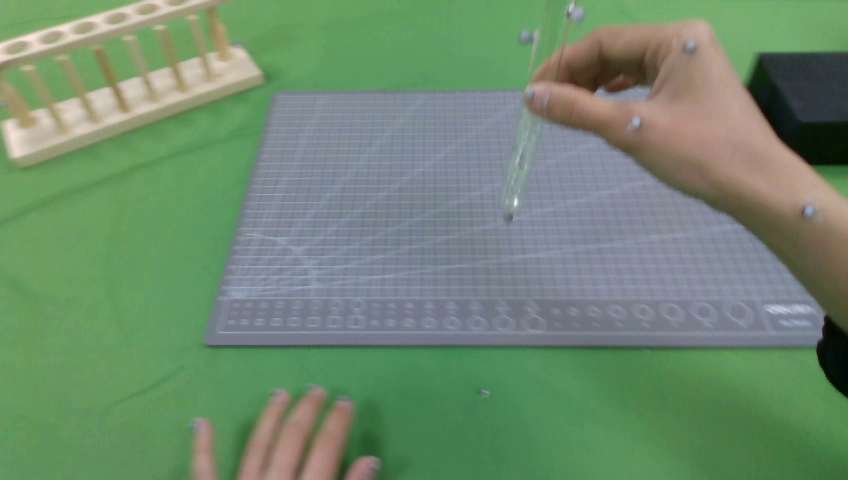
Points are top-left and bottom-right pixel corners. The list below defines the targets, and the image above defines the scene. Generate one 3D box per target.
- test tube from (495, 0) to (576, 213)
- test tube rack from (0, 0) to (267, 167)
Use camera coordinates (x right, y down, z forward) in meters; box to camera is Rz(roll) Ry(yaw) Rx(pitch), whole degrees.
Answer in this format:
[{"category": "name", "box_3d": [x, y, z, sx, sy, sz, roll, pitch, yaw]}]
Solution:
[{"category": "test tube", "box_3d": [0.056, -0.072, 0.314, 0.017, 0.151, 0.017, 4, 45, -3]}, {"category": "test tube rack", "box_3d": [-0.286, -0.163, 0.583, 0.242, 0.086, 0.066, -25, 53, -19]}]
